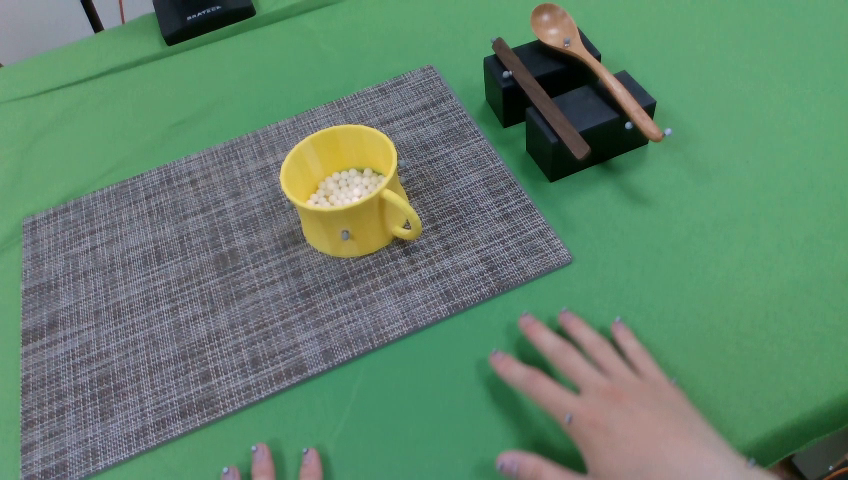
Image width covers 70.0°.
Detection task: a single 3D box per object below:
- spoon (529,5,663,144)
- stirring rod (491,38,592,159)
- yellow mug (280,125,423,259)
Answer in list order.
[{"bbox_3d":[0.152,-0.153,0.544,0.041,0.022,0.191,-22,55,-9],"label":"spoon"},{"bbox_3d":[0.100,-0.131,0.539,0.014,0.006,0.174,-45,49,23],"label":"stirring rod"},{"bbox_3d":[-0.054,-0.036,0.521,0.130,0.064,0.099,27,62,25],"label":"yellow mug"}]
